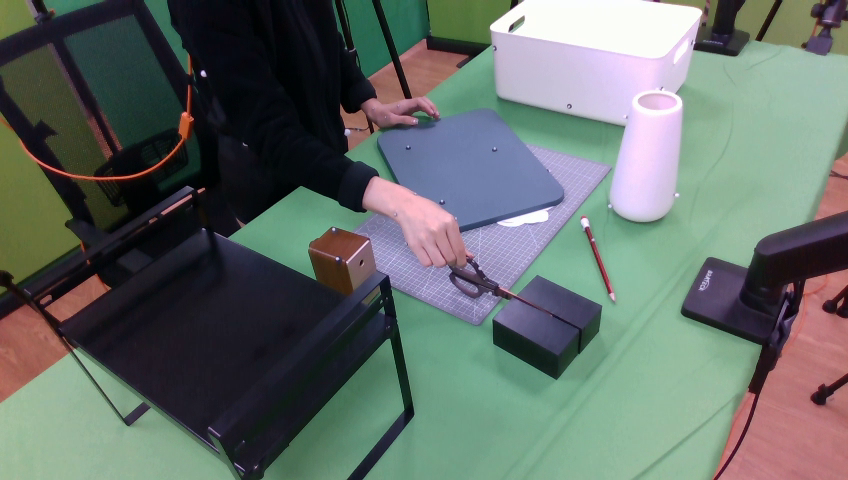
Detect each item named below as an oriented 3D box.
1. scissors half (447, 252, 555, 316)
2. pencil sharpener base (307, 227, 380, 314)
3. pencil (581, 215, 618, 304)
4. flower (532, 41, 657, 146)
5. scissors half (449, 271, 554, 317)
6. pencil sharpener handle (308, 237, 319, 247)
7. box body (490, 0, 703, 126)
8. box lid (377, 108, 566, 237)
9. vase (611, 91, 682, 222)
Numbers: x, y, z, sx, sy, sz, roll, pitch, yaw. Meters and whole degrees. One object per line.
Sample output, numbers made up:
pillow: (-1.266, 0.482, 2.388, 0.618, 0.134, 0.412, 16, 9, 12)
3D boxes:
scissors half: (0.102, 0.061, 0.821, 0.174, 0.040, 0.013, 30, 51, 27)
pencil sharpener base: (-0.116, 0.043, 0.875, 0.076, 0.107, 0.061, 18, 47, 27)
pencil: (0.266, 0.026, 0.917, 0.012, 0.012, 0.193, -6, 42, 1)
flower: (0.370, -0.320, 1.323, 0.038, 0.044, 0.359, -17, 57, -49)
scissors half: (0.104, 0.076, 0.834, 0.173, 0.040, 0.013, 17, 49, 41)
pencil sharpener handle: (-0.159, 0.017, 0.892, 0.030, 0.068, 0.036, 18, 61, 28)
box body: (0.352, -0.384, 1.268, 0.361, 0.161, 0.255, 21, 48, 29)
box lid: (0.074, -0.141, 1.136, 0.264, 0.015, 0.368, -16, 40, -10)
vase: (0.348, -0.125, 0.935, 0.098, 0.201, 0.097, -3, 40, 3)
